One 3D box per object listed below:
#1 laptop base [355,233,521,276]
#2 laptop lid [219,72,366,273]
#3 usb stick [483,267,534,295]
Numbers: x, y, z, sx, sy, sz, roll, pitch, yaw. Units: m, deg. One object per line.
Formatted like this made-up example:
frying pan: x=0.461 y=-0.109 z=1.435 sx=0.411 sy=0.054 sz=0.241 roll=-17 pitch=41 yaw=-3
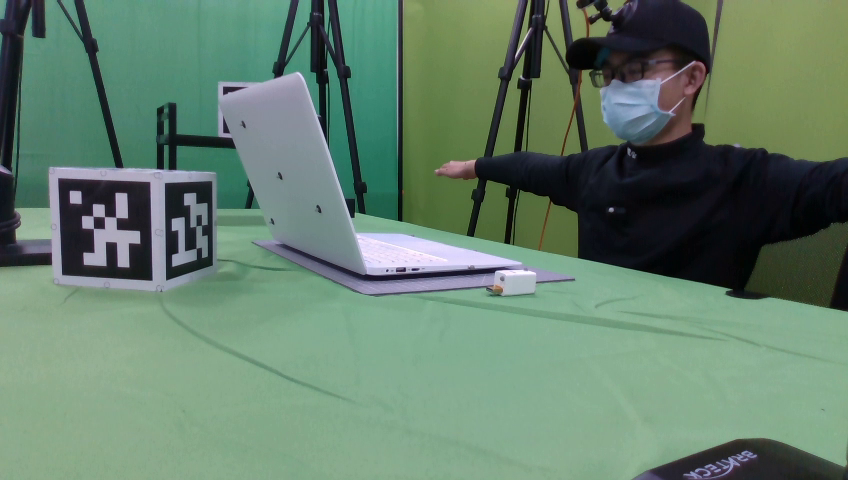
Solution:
laptop base: x=-0.056 y=0.017 z=0.898 sx=0.237 sy=0.023 sz=0.352 roll=2 pitch=6 yaw=-32
laptop lid: x=-0.189 y=-0.087 z=0.800 sx=0.013 sy=0.242 sz=0.355 roll=-26 pitch=21 yaw=-26
usb stick: x=0.093 y=0.046 z=0.673 sx=0.059 sy=0.027 sz=0.021 roll=-5 pitch=14 yaw=-30
